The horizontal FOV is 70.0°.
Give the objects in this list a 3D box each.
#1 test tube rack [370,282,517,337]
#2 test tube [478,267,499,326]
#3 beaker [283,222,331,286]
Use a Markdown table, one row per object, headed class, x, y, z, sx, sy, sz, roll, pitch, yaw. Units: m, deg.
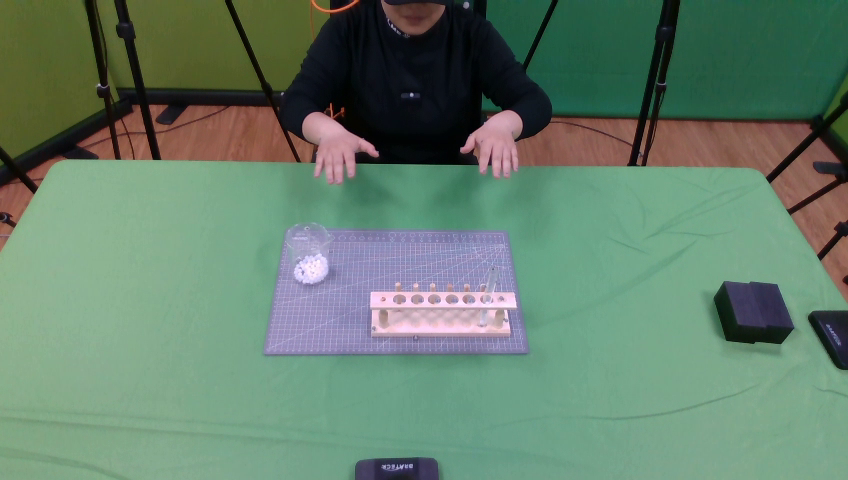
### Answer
| class | x | y | z | sx | sy | sz | roll | pitch | yaw |
| --- | --- | --- | --- | --- | --- | --- | --- | --- | --- |
| test tube rack | 0.030 | 0.116 | 1.041 | 0.242 | 0.085 | 0.066 | 1 | 46 | -4 |
| test tube | 0.105 | 0.096 | 0.997 | 0.017 | 0.151 | 0.017 | 2 | 49 | -2 |
| beaker | -0.208 | 0.028 | 1.098 | 0.084 | 0.101 | 0.073 | 2 | 46 | -4 |
